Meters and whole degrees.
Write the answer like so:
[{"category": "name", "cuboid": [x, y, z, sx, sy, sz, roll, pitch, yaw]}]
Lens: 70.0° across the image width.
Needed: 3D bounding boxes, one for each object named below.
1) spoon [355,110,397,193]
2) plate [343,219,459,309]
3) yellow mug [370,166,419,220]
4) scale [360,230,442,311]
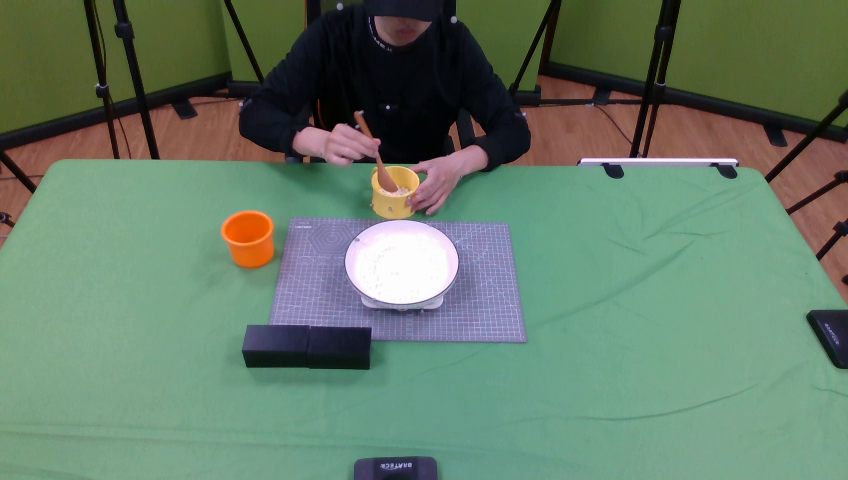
[{"category": "spoon", "cuboid": [-0.095, -0.166, 1.164, 0.041, 0.195, 0.021, 7, 42, 33]}, {"category": "plate", "cuboid": [-0.041, 0.046, 1.094, 0.209, 0.038, 0.208, 2, 46, -2]}, {"category": "yellow mug", "cuboid": [-0.073, -0.108, 1.267, 0.100, 0.064, 0.130, -29, 53, -30]}, {"category": "scale", "cuboid": [-0.042, 0.047, 1.138, 0.149, 0.032, 0.199, 2, 46, -3]}]
